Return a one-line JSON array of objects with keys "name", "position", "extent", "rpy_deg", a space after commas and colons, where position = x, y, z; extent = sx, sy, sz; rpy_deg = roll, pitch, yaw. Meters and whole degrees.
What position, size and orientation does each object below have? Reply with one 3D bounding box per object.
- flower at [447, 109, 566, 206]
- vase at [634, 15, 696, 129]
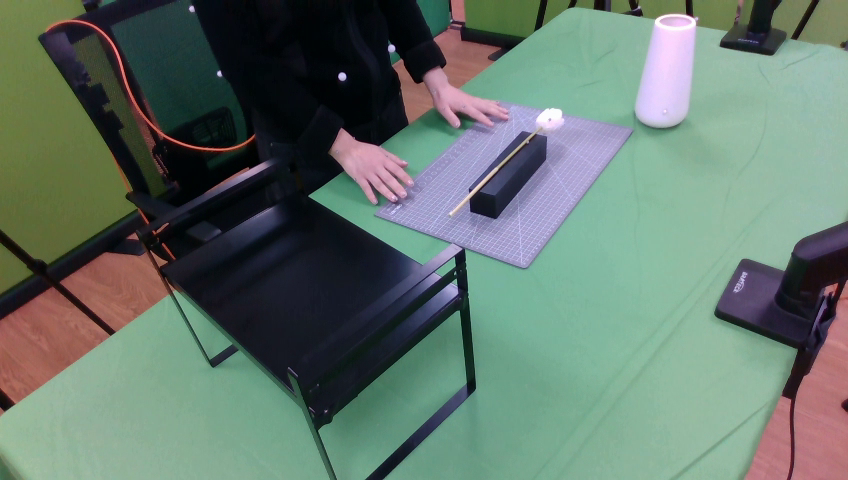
[{"name": "flower", "position": [0.147, -0.146, 1.047], "extent": [0.044, 0.038, 0.363], "rpy_deg": [46, 52, 5]}, {"name": "vase", "position": [0.455, -0.310, 1.133], "extent": [0.098, 0.201, 0.097], "rpy_deg": [-4, 42, 4]}]
